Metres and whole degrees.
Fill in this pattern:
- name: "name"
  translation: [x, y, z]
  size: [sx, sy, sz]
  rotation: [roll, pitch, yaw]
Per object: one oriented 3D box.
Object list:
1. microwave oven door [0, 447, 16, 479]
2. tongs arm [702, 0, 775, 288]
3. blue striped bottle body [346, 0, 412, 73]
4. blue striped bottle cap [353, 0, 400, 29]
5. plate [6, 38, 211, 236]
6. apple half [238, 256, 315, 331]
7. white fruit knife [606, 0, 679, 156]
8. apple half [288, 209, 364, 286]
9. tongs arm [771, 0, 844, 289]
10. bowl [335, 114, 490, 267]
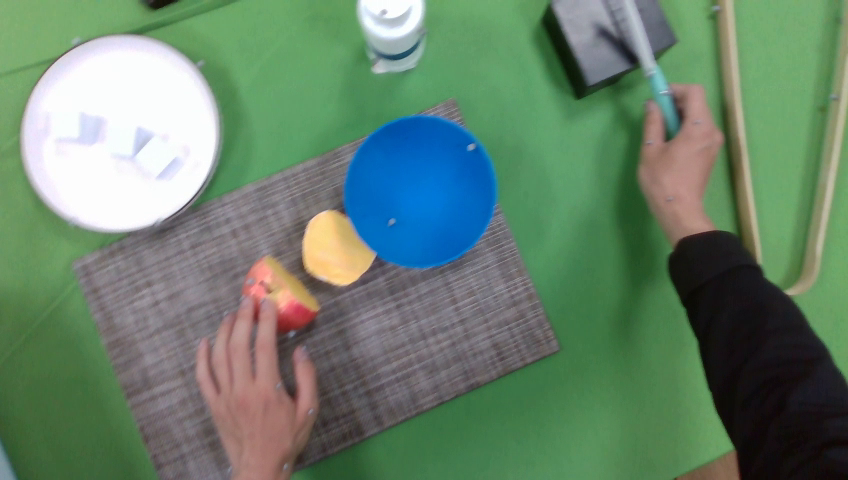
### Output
- name: "microwave oven door"
  translation: [-0.426, 0.274, 0.511]
  size: [0.039, 0.244, 0.355]
  rotation: [-26, 88, -2]
- name: "tongs arm"
  translation: [0.336, -0.137, 0.663]
  size: [0.028, 0.028, 0.387]
  rotation: [-8, 89, -4]
- name: "blue striped bottle body"
  translation: [-0.044, -0.218, 0.612]
  size: [0.063, 0.121, 0.063]
  rotation: [0, 87, -1]
- name: "blue striped bottle cap"
  translation: [-0.044, -0.220, 0.561]
  size: [0.044, 0.020, 0.044]
  rotation: [0, 87, -2]
- name: "plate"
  translation: [-0.328, -0.106, 0.645]
  size: [0.208, 0.039, 0.207]
  rotation: [0, 88, -1]
- name: "apple half"
  translation: [-0.156, 0.062, 0.619]
  size: [0.053, 0.075, 0.080]
  rotation: [-45, 82, 0]
- name: "white fruit knife"
  translation: [0.220, -0.172, 0.620]
  size: [0.016, 0.027, 0.209]
  rotation: [-32, 113, 2]
- name: "apple half"
  translation: [-0.105, 0.008, 0.639]
  size: [0.081, 0.032, 0.081]
  rotation: [-1, 97, -9]
- name: "tongs arm"
  translation: [0.418, -0.136, 0.661]
  size: [0.051, 0.026, 0.384]
  rotation: [6, 89, 0]
- name: "bowl"
  translation: [-0.011, -0.047, 0.625]
  size: [0.151, 0.077, 0.151]
  rotation: [0, 88, -1]
